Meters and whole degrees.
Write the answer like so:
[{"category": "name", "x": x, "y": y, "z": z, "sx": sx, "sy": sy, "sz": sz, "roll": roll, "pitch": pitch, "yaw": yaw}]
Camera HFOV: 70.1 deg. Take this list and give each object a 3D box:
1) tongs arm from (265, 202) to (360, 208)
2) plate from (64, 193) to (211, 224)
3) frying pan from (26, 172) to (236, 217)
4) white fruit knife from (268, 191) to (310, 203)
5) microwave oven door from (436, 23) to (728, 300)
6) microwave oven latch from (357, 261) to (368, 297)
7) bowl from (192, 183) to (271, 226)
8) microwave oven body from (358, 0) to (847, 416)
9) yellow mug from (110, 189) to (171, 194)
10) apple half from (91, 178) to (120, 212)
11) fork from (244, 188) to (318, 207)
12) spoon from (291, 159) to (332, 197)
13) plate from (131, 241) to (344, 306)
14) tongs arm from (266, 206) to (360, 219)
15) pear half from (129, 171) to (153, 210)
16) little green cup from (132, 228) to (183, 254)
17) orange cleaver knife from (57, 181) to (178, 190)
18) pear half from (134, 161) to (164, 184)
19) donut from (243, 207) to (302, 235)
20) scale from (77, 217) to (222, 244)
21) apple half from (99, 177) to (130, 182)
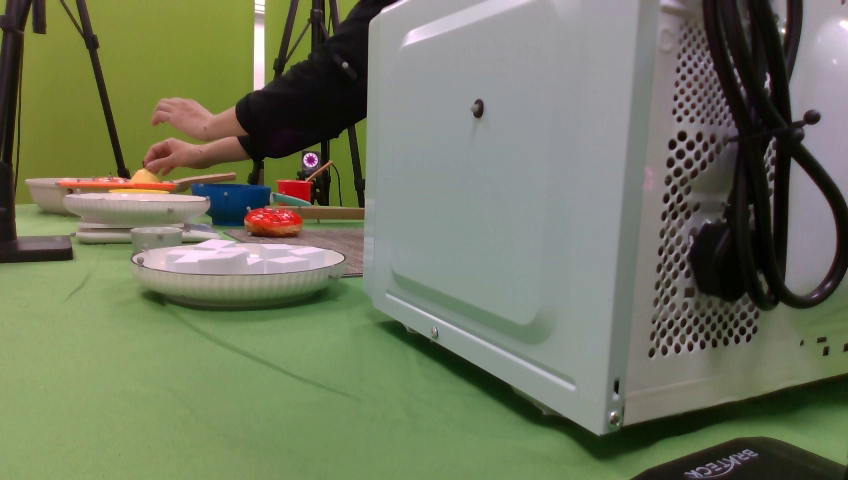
[{"category": "tongs arm", "x": -0.208, "y": -0.072, "z": 1.438, "sx": 0.389, "sy": 0.027, "sz": 0.028, "roll": 1, "pitch": 1, "yaw": -16}, {"category": "plate", "x": -0.446, "y": -0.050, "z": 0.952, "sx": 0.209, "sy": 0.038, "sz": 0.209, "roll": 2, "pitch": 7, "yaw": 0}, {"category": "frying pan", "x": -0.624, "y": -0.118, "z": 1.387, "sx": 0.305, "sy": 0.102, "sz": 0.490, "roll": 8, "pitch": 17, "yaw": 32}, {"category": "white fruit knife", "x": -0.364, "y": -0.105, "z": 1.464, "sx": 0.208, "sy": 0.027, "sz": 0.016, "roll": 15, "pitch": -1, "yaw": -34}, {"category": "microwave oven door", "x": 0.180, "y": -0.073, "z": 0.621, "sx": 0.358, "sy": 0.243, "sz": 0.039, "roll": -2, "pitch": 9, "yaw": -29}, {"category": "microwave oven latch", "x": -0.019, "y": 0.033, "z": 0.531, "sx": 0.079, "sy": 0.029, "sz": 0.030, "roll": -1, "pitch": 7, "yaw": -27}, {"category": "bowl", "x": -0.382, "y": -0.070, "z": 1.202, "sx": 0.151, "sy": 0.077, "sz": 0.151, "roll": 3, "pitch": 7, "yaw": 0}, {"category": "microwave oven body", "x": 0.211, "y": -0.047, "z": 0.475, "sx": 0.444, "sy": 0.260, "sz": 0.324, "roll": -1, "pitch": 7, "yaw": -28}, {"category": "yellow mug", "x": -0.518, "y": -0.055, "z": 1.081, "sx": 0.099, "sy": 0.064, "sz": 0.131, "roll": 7, "pitch": 9, "yaw": 26}, {"category": "apple half", "x": -0.677, "y": -0.096, "z": 1.271, "sx": 0.033, "sy": 0.081, "sz": 0.081, "roll": 7, "pitch": 8, "yaw": 10}, {"category": "fork", "x": -0.356, "y": -0.105, "z": 1.526, "sx": 0.208, "sy": 0.018, "sz": 0.028, "roll": 16, "pitch": -5, "yaw": -41}, {"category": "spoon", "x": -0.316, "y": -0.158, "z": 1.640, "sx": 0.194, "sy": 0.022, "sz": 0.041, "roll": -50, "pitch": 31, "yaw": -20}, {"category": "plate", "x": -0.187, "y": 0.033, "z": 0.625, "sx": 0.208, "sy": 0.039, "sz": 0.207, "roll": 2, "pitch": 8, "yaw": 0}, {"category": "tongs arm", "x": -0.172, "y": -0.062, "z": 1.361, "sx": 0.387, "sy": 0.026, "sz": 0.050, "roll": -1, "pitch": 6, "yaw": -31}, {"category": "pear half", "x": -0.642, "y": -0.112, "z": 1.359, "sx": 0.031, "sy": 0.088, "sz": 0.070, "roll": -1, "pitch": 12, "yaw": 6}, {"category": "little green cup", "x": -0.342, "y": 0.006, "z": 0.779, "sx": 0.061, "sy": 0.038, "sz": 0.061, "roll": 2, "pitch": 8, "yaw": 0}, {"category": "orange cleaver knife", "x": -0.600, "y": -0.109, "z": 1.189, "sx": 0.212, "sy": 0.012, "sz": 0.077, "roll": -1, "pitch": 11, "yaw": -26}, {"category": "pear half", "x": -0.607, "y": -0.123, "z": 1.351, "sx": 0.056, "sy": 0.110, "sz": 0.076, "roll": -3, "pitch": 12, "yaw": 7}, {"category": "donut", "x": -0.261, "y": -0.032, "z": 1.043, "sx": 0.099, "sy": 0.048, "sz": 0.099, "roll": 4, "pitch": 9, "yaw": 0}, {"category": "scale", "x": -0.434, "y": -0.019, "z": 0.963, "sx": 0.202, "sy": 0.031, "sz": 0.148, "roll": -1, "pitch": 9, "yaw": -27}, {"category": "apple half", "x": -0.639, "y": -0.093, "z": 1.265, "sx": 0.053, "sy": 0.074, "sz": 0.081, "roll": 7, "pitch": 5, "yaw": 10}]
